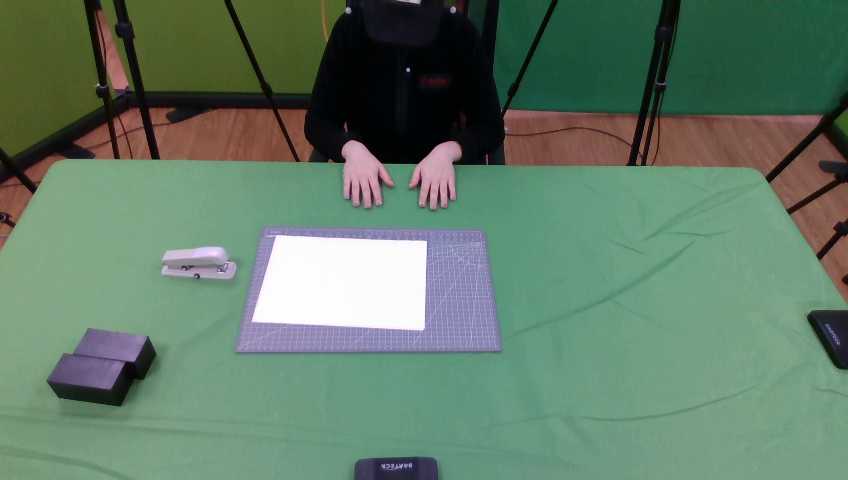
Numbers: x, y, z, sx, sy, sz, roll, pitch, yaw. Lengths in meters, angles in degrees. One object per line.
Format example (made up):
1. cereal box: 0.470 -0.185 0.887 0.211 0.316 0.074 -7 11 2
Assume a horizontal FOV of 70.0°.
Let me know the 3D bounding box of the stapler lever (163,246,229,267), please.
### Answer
1. stapler lever: -0.415 0.029 1.103 0.118 0.040 0.026 3 43 0

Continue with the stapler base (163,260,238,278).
1. stapler base: -0.415 0.046 1.120 0.130 0.024 0.041 2 43 0
